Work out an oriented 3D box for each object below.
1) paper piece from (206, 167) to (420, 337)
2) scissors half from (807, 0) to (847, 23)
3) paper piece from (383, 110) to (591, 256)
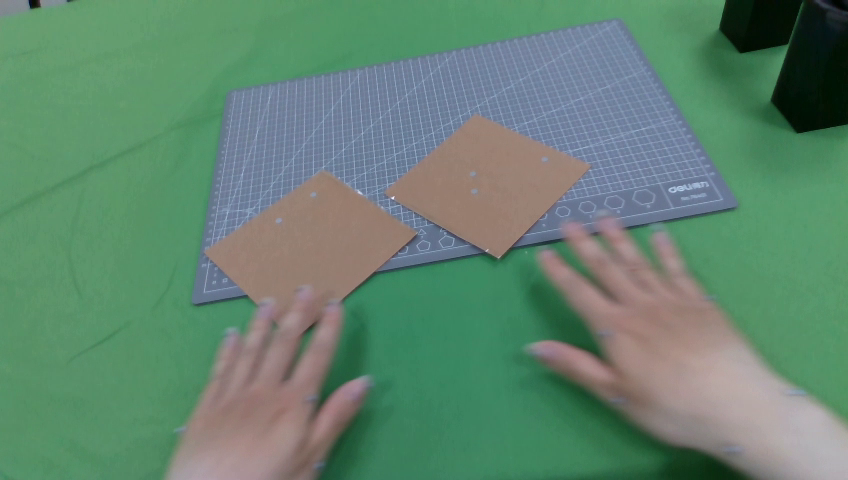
[{"bbox_3d":[-0.098,0.001,0.520,0.138,0.009,0.134,-40,52,-21],"label":"paper piece"},{"bbox_3d":[0.322,-0.227,0.503,0.040,0.013,0.173,-5,48,8],"label":"scissors half"},{"bbox_3d":[0.056,-0.057,0.540,0.134,0.004,0.135,32,62,31],"label":"paper piece"}]
